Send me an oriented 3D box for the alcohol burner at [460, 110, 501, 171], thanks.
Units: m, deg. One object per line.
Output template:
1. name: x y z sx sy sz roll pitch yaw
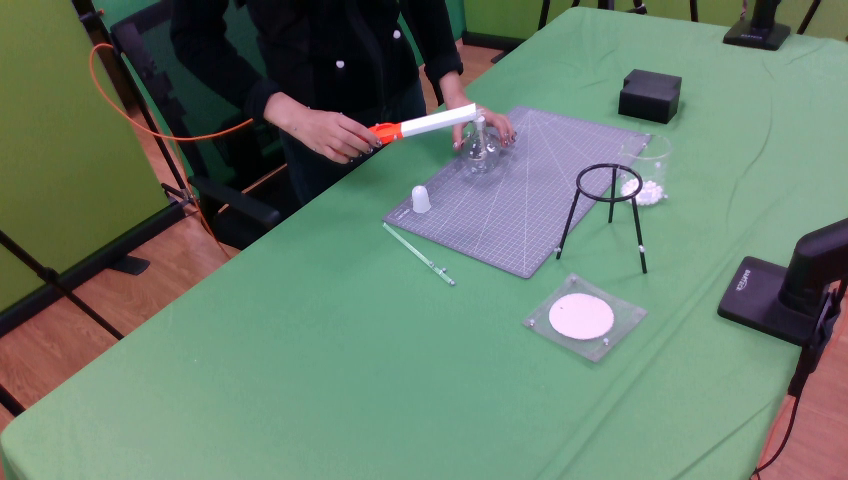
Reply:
1. alcohol burner: 0.103 -0.186 1.105 0.078 0.119 0.077 -4 42 5

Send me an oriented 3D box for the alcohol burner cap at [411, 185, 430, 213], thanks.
1. alcohol burner cap: -0.008 -0.074 1.050 0.034 0.048 0.033 -4 41 4

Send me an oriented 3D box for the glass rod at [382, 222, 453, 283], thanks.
1. glass rod: -0.014 0.016 0.976 0.008 0.008 0.198 -30 44 -22

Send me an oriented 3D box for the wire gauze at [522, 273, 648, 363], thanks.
1. wire gauze: 0.220 0.105 0.828 0.125 0.011 0.120 -35 47 -30

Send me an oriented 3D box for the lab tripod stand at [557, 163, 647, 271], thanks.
1. lab tripod stand: 0.271 -0.034 0.885 0.148 0.132 0.147 -4 40 4

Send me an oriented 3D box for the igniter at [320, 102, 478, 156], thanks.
1. igniter: -0.047 -0.183 1.006 0.276 0.025 0.057 -12 41 12

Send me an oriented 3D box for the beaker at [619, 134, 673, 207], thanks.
1. beaker: 0.357 -0.111 0.986 0.084 0.101 0.073 -10 40 1
